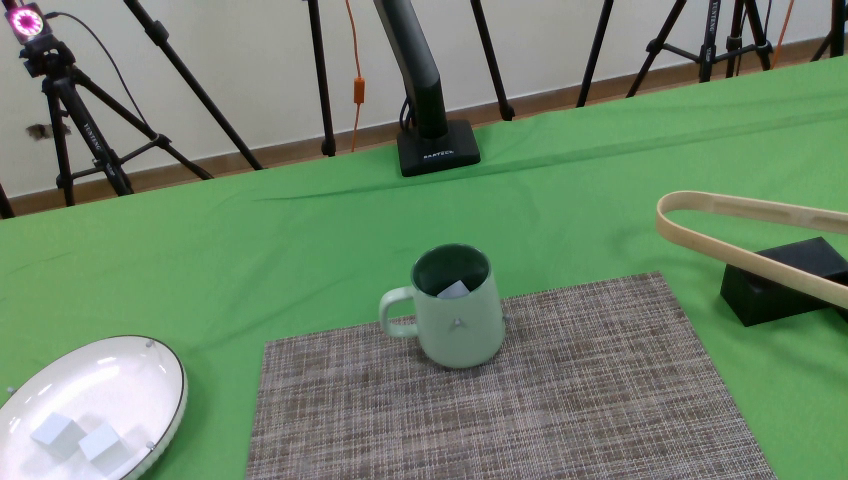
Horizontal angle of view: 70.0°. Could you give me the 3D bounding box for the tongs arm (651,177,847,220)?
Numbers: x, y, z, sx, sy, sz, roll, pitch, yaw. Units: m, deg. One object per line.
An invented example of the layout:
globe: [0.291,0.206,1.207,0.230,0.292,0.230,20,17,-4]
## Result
tongs arm: [0.422,-0.015,0.585,0.382,0.027,0.050,15,52,27]

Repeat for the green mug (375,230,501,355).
green mug: [0.013,0.057,0.611,0.125,0.106,0.091,-11,42,1]

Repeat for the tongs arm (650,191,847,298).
tongs arm: [0.378,0.034,0.544,0.384,0.028,0.028,27,61,35]

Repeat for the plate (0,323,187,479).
plate: [-0.342,0.176,0.620,0.209,0.038,0.207,-6,42,6]
